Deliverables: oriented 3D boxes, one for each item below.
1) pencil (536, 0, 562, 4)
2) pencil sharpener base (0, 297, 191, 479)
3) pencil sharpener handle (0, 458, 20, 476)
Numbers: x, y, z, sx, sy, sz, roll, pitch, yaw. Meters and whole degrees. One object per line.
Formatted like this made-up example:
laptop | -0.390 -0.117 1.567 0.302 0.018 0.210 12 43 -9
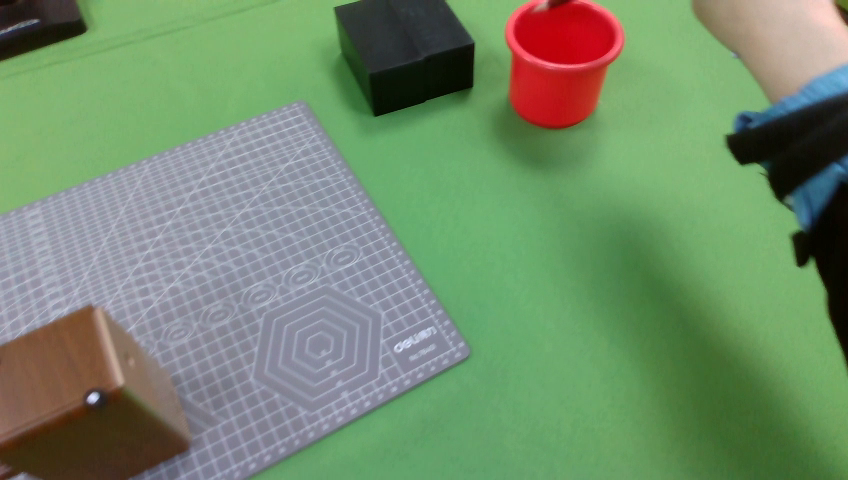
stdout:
pencil | 0.165 -0.197 0.431 0.193 0.012 0.012 -4 48 40
pencil sharpener base | -0.194 0.094 0.350 0.077 0.108 0.061 -26 59 -14
pencil sharpener handle | -0.238 0.110 0.325 0.031 0.068 0.035 -26 53 -14
